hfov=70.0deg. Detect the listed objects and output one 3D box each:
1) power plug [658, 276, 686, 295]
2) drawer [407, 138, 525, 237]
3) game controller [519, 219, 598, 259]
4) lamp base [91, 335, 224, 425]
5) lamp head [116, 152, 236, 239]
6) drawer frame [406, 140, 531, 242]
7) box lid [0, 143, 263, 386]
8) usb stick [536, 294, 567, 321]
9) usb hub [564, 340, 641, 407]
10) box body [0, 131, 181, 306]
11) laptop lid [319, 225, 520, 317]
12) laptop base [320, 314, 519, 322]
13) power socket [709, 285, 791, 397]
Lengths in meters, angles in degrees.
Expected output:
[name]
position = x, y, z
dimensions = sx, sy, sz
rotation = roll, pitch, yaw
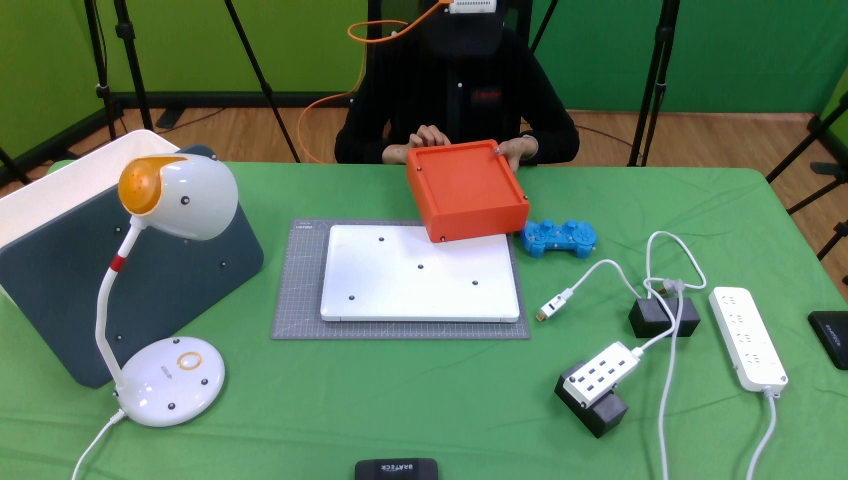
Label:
[power plug]
position = 0.450, 0.087, 1.113
dimensions = 0.073, 0.052, 0.035
rotation = -13, 71, -55
[drawer]
position = 0.080, -0.111, 1.241
dimensions = 0.195, 0.073, 0.210
rotation = -8, 47, -11
[game controller]
position = 0.270, -0.012, 1.210
dimensions = 0.155, 0.052, 0.096
rotation = 1, 50, -2
[lamp base]
position = -0.401, 0.170, 0.892
dimensions = 0.160, 0.181, 0.179
rotation = 30, 53, 23
[lamp head]
position = -0.315, -0.057, 0.747
dimensions = 0.112, 0.112, 0.123
rotation = 26, 10, 20
[drawer frame]
position = 0.083, -0.106, 1.234
dimensions = 0.202, 0.083, 0.212
rotation = -8, 47, -13
[box lid]
position = -0.444, 0.032, 0.979
dimensions = 0.015, 0.264, 0.371
rotation = 13, 42, 41
[usb stick]
position = 0.226, 0.123, 1.083
dimensions = 0.059, 0.027, 0.021
rotation = -38, 77, -8
[usb hub]
position = 0.278, 0.205, 0.944
dimensions = 0.125, 0.025, 0.049
rotation = -27, 52, -28
[box body]
position = -0.550, -0.007, 1.068
dimensions = 0.253, 0.161, 0.363
rotation = 30, 51, 23
[laptop lid]
position = -0.008, 0.052, 1.131
dimensions = 0.357, 0.013, 0.240
rotation = 2, 44, -2
[laptop base]
position = -0.009, 0.062, 1.138
dimensions = 0.354, 0.023, 0.234
rotation = 0, 43, -3
[power socket]
position = 0.567, 0.168, 1.064
dimensions = 0.072, 0.033, 0.225
rotation = 2, 46, 0
